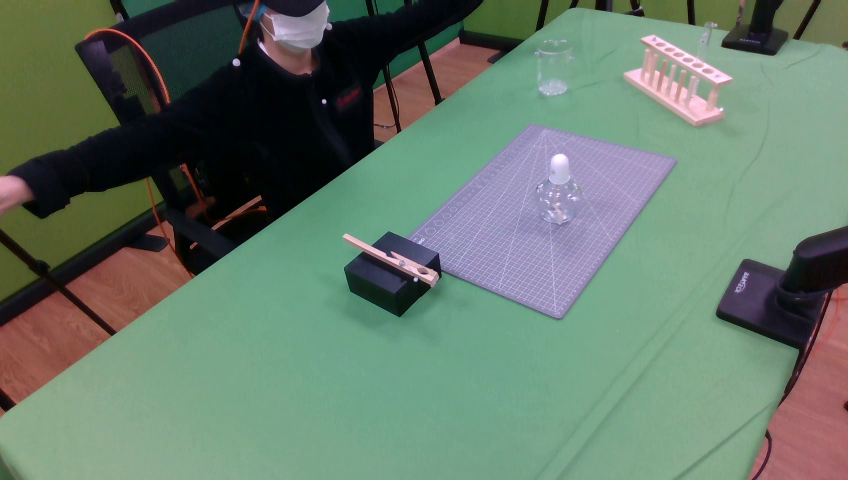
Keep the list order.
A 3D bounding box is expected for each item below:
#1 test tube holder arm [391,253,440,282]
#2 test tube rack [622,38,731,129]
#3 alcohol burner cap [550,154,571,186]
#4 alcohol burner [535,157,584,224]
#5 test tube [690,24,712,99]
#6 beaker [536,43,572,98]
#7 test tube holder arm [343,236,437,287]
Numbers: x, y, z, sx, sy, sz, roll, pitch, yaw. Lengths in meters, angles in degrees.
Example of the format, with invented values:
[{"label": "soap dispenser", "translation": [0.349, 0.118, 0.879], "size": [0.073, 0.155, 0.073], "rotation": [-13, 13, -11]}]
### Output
[{"label": "test tube holder arm", "translation": [-0.015, 0.039, 0.858], "size": [0.087, 0.015, 0.010], "rotation": [22, 56, 32]}, {"label": "test tube rack", "translation": [0.506, -0.325, 1.234], "size": [0.067, 0.085, 0.240], "rotation": [-18, 41, -11]}, {"label": "alcohol burner cap", "translation": [0.212, -0.112, 0.944], "size": [0.034, 0.048, 0.033], "rotation": [-6, 44, 7]}, {"label": "alcohol burner", "translation": [0.217, -0.085, 0.967], "size": [0.078, 0.119, 0.077], "rotation": [-3, 41, 3]}, {"label": "test tube", "translation": [0.534, -0.344, 1.174], "size": [0.017, 0.151, 0.017], "rotation": [-2, 39, 2]}, {"label": "beaker", "translation": [0.280, -0.368, 1.311], "size": [0.074, 0.101, 0.084], "rotation": [4, 41, 14]}, {"label": "test tube holder arm", "translation": [-0.054, 0.028, 0.879], "size": [0.177, 0.015, 0.013], "rotation": [22, 56, 32]}]
